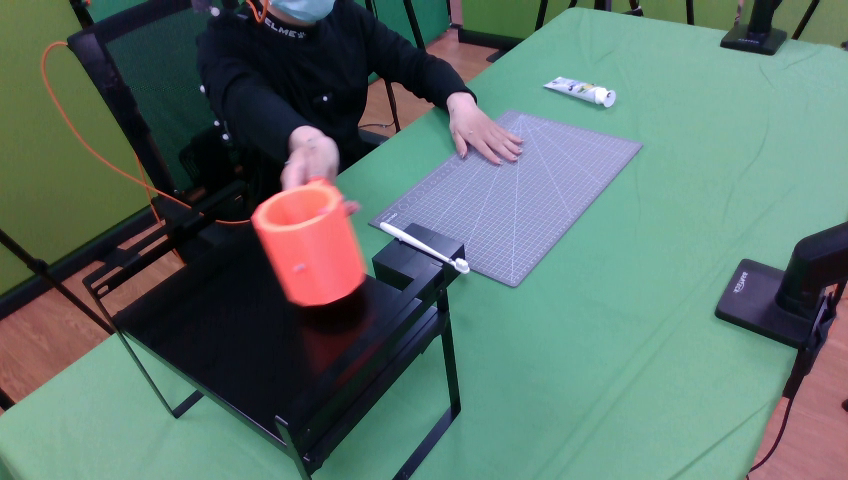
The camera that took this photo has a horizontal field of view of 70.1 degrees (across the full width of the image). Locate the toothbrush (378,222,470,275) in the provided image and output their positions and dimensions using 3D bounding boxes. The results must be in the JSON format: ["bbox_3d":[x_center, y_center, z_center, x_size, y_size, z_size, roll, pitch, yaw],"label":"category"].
[{"bbox_3d":[-0.004,0.008,0.894,0.180,0.017,0.014,27,55,34],"label":"toothbrush"}]

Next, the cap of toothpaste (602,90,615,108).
[{"bbox_3d":[0.378,-0.291,1.246,0.037,0.037,0.011,-30,41,-25],"label":"cap of toothpaste"}]

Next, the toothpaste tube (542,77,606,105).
[{"bbox_3d":[0.333,-0.324,1.300,0.055,0.034,0.163,-27,40,-28],"label":"toothpaste tube"}]

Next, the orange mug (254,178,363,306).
[{"bbox_3d":[-0.115,-0.007,0.634,0.083,0.101,0.125,-5,39,10],"label":"orange mug"}]
